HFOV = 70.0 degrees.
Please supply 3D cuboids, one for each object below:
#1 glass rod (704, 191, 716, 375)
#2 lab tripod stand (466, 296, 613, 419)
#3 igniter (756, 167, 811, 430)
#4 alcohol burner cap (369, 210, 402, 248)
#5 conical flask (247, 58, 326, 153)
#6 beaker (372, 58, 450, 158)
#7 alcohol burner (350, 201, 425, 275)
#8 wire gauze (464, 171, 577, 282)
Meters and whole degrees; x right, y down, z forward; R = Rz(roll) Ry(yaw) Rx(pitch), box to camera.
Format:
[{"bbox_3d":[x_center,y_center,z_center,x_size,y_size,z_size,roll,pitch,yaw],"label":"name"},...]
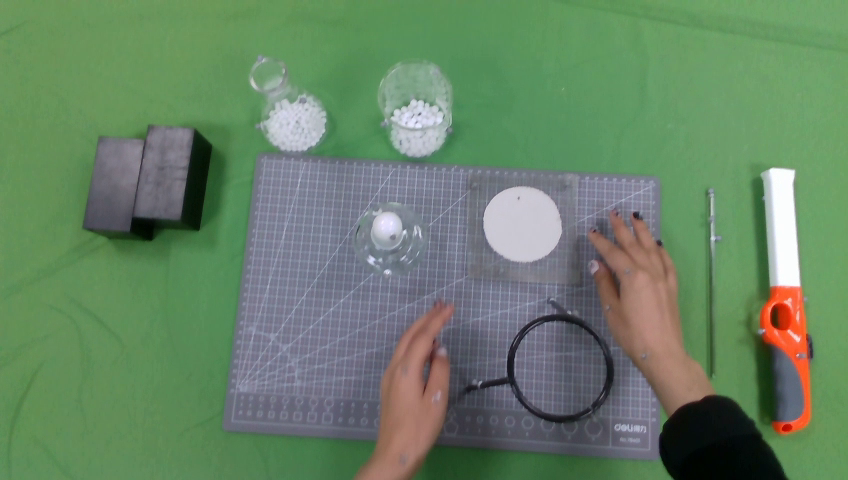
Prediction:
[{"bbox_3d":[0.307,0.044,0.651,0.008,0.008,0.199,3,79,1],"label":"glass rod"},{"bbox_3d":[0.112,0.119,0.573,0.148,0.132,0.148,0,81,1],"label":"lab tripod stand"},{"bbox_3d":[0.376,0.058,0.639,0.057,0.025,0.275,4,80,-10],"label":"igniter"},{"bbox_3d":[-0.036,-0.012,0.572,0.034,0.048,0.033,1,80,-5],"label":"alcohol burner cap"},{"bbox_3d":[-0.148,-0.144,0.631,0.075,0.122,0.075,0,79,0],"label":"conical flask"},{"bbox_3d":[-0.009,-0.132,0.640,0.084,0.100,0.074,40,83,7],"label":"beaker"},{"bbox_3d":[-0.037,-0.005,0.607,0.078,0.119,0.077,0,81,0],"label":"alcohol burner"},{"bbox_3d":[0.106,-0.016,0.662,0.125,0.011,0.121,2,80,-1],"label":"wire gauze"}]
